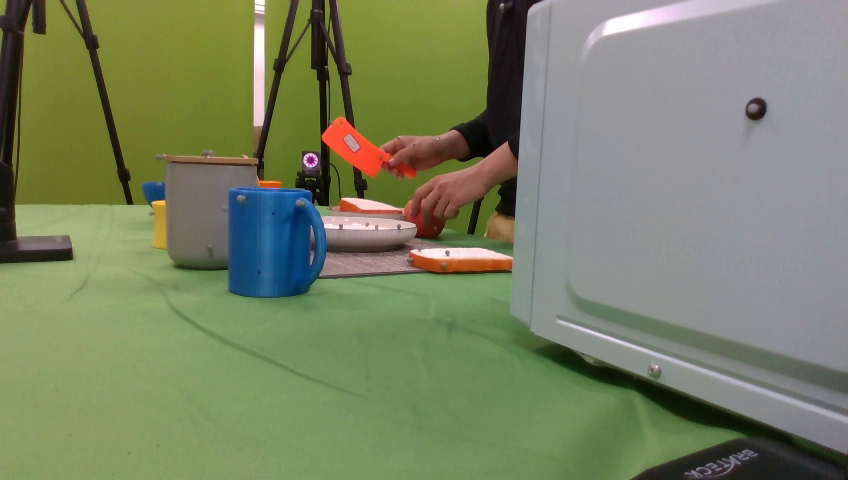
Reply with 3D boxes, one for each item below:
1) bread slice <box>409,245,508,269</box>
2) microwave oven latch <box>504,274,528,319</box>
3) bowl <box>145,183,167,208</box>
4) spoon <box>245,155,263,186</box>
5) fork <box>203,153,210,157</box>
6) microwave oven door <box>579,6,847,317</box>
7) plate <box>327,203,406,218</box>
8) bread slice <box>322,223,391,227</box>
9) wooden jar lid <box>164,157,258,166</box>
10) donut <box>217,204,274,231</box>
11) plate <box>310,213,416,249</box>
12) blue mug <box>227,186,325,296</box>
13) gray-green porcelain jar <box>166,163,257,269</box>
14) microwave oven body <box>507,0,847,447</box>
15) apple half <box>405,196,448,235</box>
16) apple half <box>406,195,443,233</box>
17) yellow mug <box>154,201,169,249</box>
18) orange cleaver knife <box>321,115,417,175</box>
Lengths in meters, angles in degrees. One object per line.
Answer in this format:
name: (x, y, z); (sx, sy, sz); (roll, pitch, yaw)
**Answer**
bread slice: (0.048, 0.021, 0.816); (0.132, 0.019, 0.104); (0, 7, -24)
microwave oven latch: (0.100, 0.041, 0.470); (0.079, 0.029, 0.030); (-1, 7, -27)
bowl: (-0.459, -0.068, 1.175); (0.151, 0.077, 0.151); (2, 7, 0)
spoon: (-0.421, -0.150, 1.540); (0.042, 0.021, 0.193); (-5, 55, -37)
fork: (-0.480, -0.134, 1.411); (0.028, 0.018, 0.207); (1, -35, 0)
microwave oven door: (0.294, -0.067, 0.570); (0.358, 0.243, 0.039); (-3, 9, -31)
plate: (-0.102, -0.053, 1.299); (0.209, 0.038, 0.209); (2, 8, 0)
bread slice: (-0.116, -0.014, 0.974); (0.135, 0.018, 0.106); (-6, 11, -42)
wooden jar lid: (-0.261, -0.093, 0.746); (0.108, 0.020, 0.108); (0, 9, 0)
donut: (-0.318, -0.038, 1.080); (0.099, 0.048, 0.099); (3, 7, 0)
plate: (-0.117, -0.014, 0.967); (0.208, 0.039, 0.207); (2, 7, 0)
blue mug: (-0.146, 0.000, 0.618); (0.116, 0.106, 0.083); (7, 9, 32)
gray-green porcelain jar: (-0.263, -0.031, 0.754); (0.106, 0.126, 0.106); (2, 7, 0)
microwave oven body: (0.331, -0.042, 0.425); (0.444, 0.260, 0.324); (-2, 8, -31)
apple half: (0.009, -0.045, 1.133); (0.081, 0.074, 0.053); (2, 11, -21)
apple half: (-0.004, -0.052, 1.167); (0.081, 0.081, 0.032); (-2, 8, -23)
yellow mug: (-0.337, -0.022, 0.899); (0.130, 0.064, 0.100); (8, 9, 34)
orange cleaver knife: (-0.104, -0.169, 1.189); (0.212, 0.077, 0.012); (30, -26, -27)
